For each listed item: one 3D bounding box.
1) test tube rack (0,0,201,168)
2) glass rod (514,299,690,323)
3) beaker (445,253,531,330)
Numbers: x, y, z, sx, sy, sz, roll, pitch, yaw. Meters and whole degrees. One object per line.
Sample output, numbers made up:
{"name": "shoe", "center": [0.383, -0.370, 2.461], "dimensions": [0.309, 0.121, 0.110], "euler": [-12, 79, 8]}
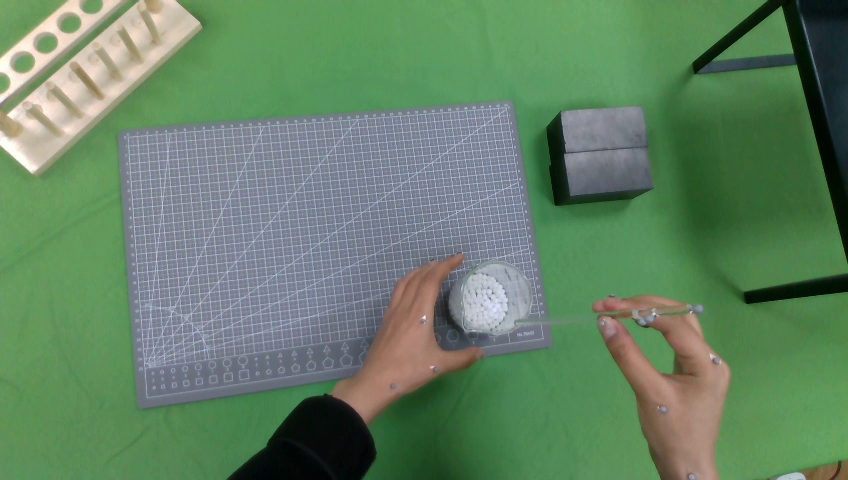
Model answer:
{"name": "test tube rack", "center": [-0.352, -0.192, 0.627], "dimensions": [0.067, 0.085, 0.242], "euler": [42, 78, 0]}
{"name": "glass rod", "center": [0.122, 0.057, 0.461], "dimensions": [0.008, 0.199, 0.008], "euler": [5, 78, -23]}
{"name": "beaker", "center": [0.061, 0.061, 0.643], "dimensions": [0.074, 0.100, 0.084], "euler": [45, 79, 1]}
